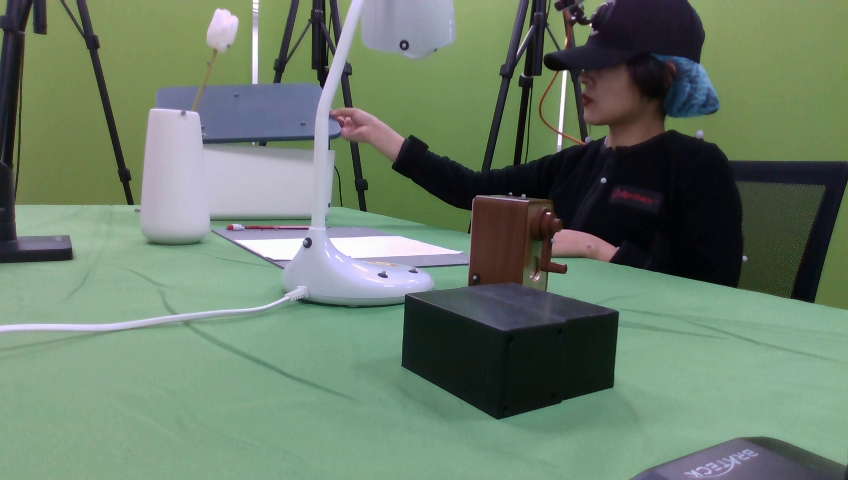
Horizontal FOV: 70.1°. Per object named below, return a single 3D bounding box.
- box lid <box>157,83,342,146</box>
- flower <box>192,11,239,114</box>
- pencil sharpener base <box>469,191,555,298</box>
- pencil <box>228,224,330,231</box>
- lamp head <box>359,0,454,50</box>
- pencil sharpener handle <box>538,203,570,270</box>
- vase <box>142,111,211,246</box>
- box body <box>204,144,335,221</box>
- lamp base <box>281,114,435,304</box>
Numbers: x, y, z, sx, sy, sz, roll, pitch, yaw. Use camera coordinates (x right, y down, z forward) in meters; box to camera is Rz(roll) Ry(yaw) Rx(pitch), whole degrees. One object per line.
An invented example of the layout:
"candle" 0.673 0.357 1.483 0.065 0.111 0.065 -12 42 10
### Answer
"box lid" -0.383 -0.280 1.327 0.373 0.015 0.262 -7 40 -20
"flower" -0.354 -0.174 0.915 0.038 0.361 0.044 18 -4 12
"pencil sharpener base" 0.097 0.003 0.652 0.076 0.107 0.061 8 9 38
"pencil" -0.265 -0.023 1.124 0.195 0.012 0.012 -1 8 -32
"lamp head" -0.024 -0.282 0.674 0.112 0.123 0.112 -3 38 3
"pencil sharpener handle" 0.137 -0.003 0.619 0.030 0.067 0.036 8 5 38
"vase" -0.378 -0.093 0.920 0.098 0.200 0.098 2 9 0
"box body" -0.413 -0.134 1.379 0.366 0.160 0.253 -2 9 -31
"lamp base" -0.071 -0.035 0.614 0.160 0.180 0.180 6 10 27
